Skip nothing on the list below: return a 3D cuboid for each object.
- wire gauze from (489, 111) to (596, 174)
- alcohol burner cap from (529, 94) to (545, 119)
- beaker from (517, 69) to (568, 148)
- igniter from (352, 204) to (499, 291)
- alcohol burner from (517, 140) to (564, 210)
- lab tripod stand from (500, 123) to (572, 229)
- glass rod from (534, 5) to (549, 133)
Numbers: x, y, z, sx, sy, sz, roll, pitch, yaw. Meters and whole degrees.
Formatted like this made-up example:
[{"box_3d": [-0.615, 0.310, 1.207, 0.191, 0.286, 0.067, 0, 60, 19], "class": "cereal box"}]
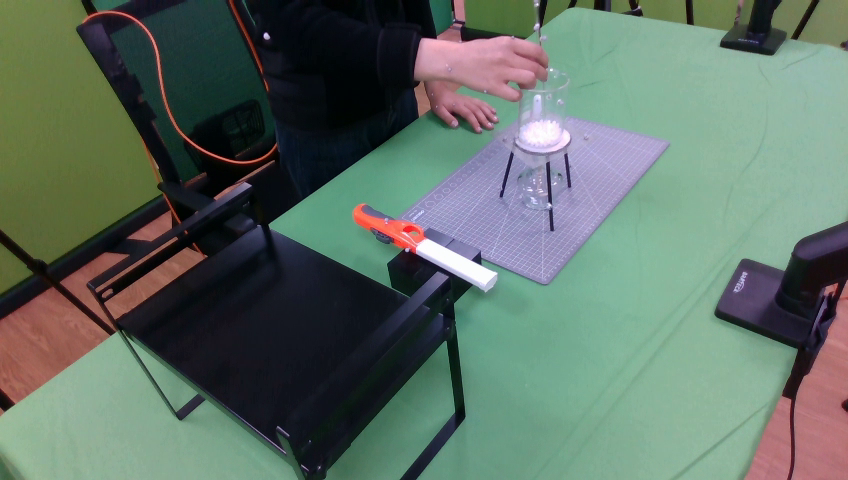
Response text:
[{"box_3d": [0.183, -0.160, 0.943, 0.122, 0.011, 0.124, -25, 47, -17], "class": "wire gauze"}, {"box_3d": [0.233, -0.277, 1.247, 0.034, 0.048, 0.033, -5, 41, 5], "class": "alcohol burner cap"}, {"box_3d": [0.179, -0.198, 0.914, 0.073, 0.100, 0.084, 25, 49, 31], "class": "beaker"}, {"box_3d": [-0.009, 0.005, 0.895, 0.274, 0.025, 0.057, 27, 48, 32], "class": "igniter"}, {"box_3d": [0.193, -0.110, 1.001, 0.078, 0.119, 0.077, -5, 38, 5], "class": "alcohol burner"}, {"box_3d": [0.194, -0.110, 0.985, 0.148, 0.132, 0.147, -3, 41, 3], "class": "lab tripod stand"}, {"box_3d": [0.168, -0.237, 0.862, 0.008, 0.201, 0.008, -9, 42, 8], "class": "glass rod"}]
